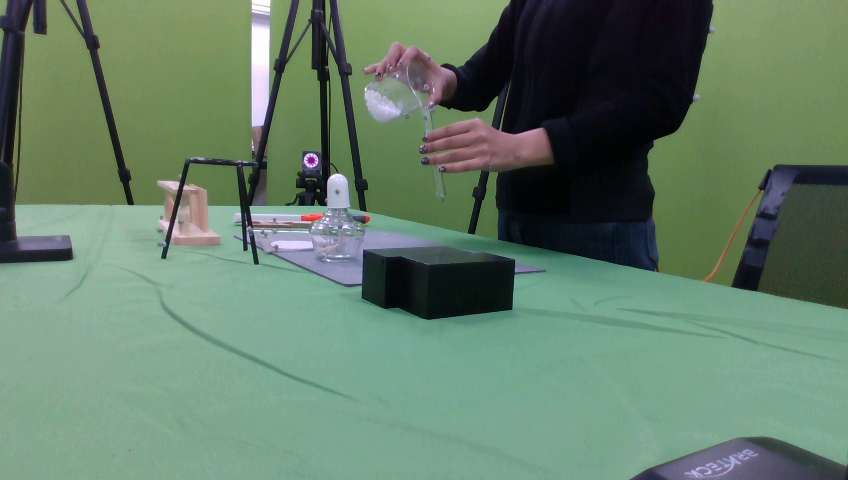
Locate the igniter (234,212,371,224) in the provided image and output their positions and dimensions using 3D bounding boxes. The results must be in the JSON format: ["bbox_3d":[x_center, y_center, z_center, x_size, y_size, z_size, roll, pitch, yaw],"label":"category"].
[{"bbox_3d":[-0.245,-0.045,1.248,0.278,0.025,0.057,-1,-2,-25],"label":"igniter"}]

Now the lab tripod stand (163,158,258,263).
[{"bbox_3d":[-0.265,-0.041,0.802,0.148,0.131,0.148,4,7,0],"label":"lab tripod stand"}]

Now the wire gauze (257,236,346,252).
[{"bbox_3d":[-0.189,0.005,0.931,0.122,0.011,0.124,1,7,-21],"label":"wire gauze"}]

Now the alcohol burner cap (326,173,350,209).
[{"bbox_3d":[-0.116,-0.066,0.808,0.034,0.048,0.034,-3,10,1],"label":"alcohol burner cap"}]

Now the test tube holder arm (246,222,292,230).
[{"bbox_3d":[-0.291,-0.026,1.130,0.088,0.015,0.010,-1,44,-29],"label":"test tube holder arm"}]

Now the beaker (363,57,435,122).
[{"bbox_3d":[-0.042,-0.239,0.985,0.100,0.084,0.074,-17,-9,34],"label":"beaker"}]

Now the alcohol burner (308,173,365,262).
[{"bbox_3d":[-0.117,-0.030,0.813,0.078,0.119,0.078,4,9,0],"label":"alcohol burner"}]

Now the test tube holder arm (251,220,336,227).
[{"bbox_3d":[-0.254,-0.031,1.156,0.179,0.015,0.013,-2,44,-31],"label":"test tube holder arm"}]

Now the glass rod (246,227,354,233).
[{"bbox_3d":[-0.224,-0.017,1.109,0.201,0.008,0.008,1,7,-27],"label":"glass rod"}]

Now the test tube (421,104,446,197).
[{"bbox_3d":[0.015,-0.140,0.940,0.017,0.150,0.017,-10,-11,-2],"label":"test tube"}]

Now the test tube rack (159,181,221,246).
[{"bbox_3d":[-0.395,-0.050,1.010,0.067,0.085,0.241,-2,8,-28],"label":"test tube rack"}]
